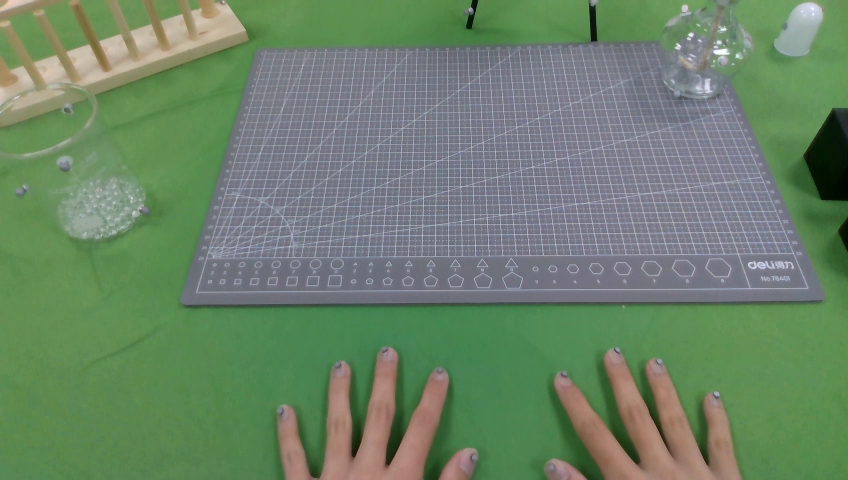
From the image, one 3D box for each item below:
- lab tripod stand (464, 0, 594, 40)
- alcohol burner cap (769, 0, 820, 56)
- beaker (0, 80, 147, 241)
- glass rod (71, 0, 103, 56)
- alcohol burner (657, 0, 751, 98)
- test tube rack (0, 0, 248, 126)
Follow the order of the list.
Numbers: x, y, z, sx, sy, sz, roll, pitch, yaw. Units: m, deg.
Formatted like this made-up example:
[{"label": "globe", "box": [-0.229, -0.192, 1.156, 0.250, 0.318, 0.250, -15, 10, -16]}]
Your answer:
[{"label": "lab tripod stand", "box": [0.113, -0.275, 0.580, 0.148, 0.132, 0.147, 0, 53, 0]}, {"label": "alcohol burner cap", "box": [0.354, -0.203, 0.574, 0.034, 0.048, 0.033, -1, 52, 1]}, {"label": "beaker", "box": [-0.260, -0.053, 0.447, 0.084, 0.101, 0.073, -23, 55, -14]}, {"label": "glass rod", "box": [-0.315, -0.240, 0.515, 0.008, 0.201, 0.008, 2, 55, -2]}, {"label": "alcohol burner", "box": [0.242, -0.181, 0.513, 0.078, 0.120, 0.077, 0, 55, 1]}, {"label": "test tube rack", "box": [-0.302, -0.200, 0.568, 0.242, 0.086, 0.066, -26, 56, -17]}]
